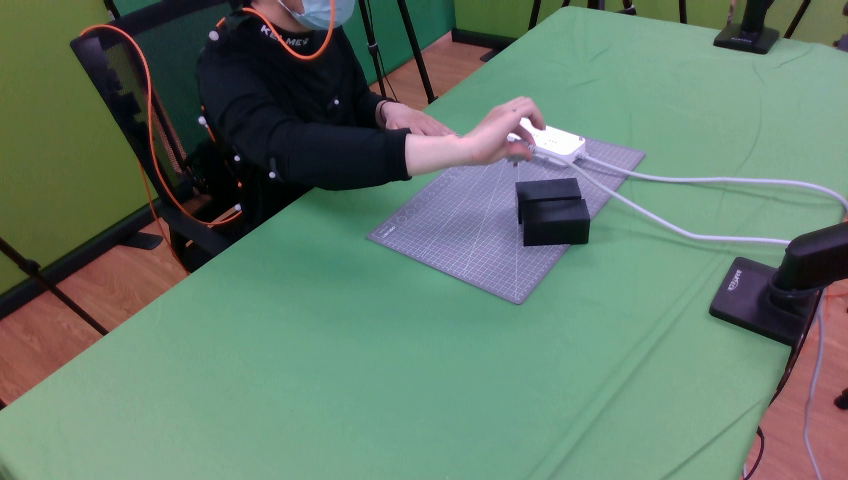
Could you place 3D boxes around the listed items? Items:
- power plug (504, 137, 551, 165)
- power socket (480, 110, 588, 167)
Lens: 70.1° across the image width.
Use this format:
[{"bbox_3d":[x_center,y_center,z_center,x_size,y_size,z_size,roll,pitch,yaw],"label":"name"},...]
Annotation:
[{"bbox_3d":[0.158,-0.133,0.956,0.072,0.053,0.035,38,61,25],"label":"power plug"},{"bbox_3d":[0.204,-0.198,1.157,0.225,0.033,0.072,29,53,34],"label":"power socket"}]
